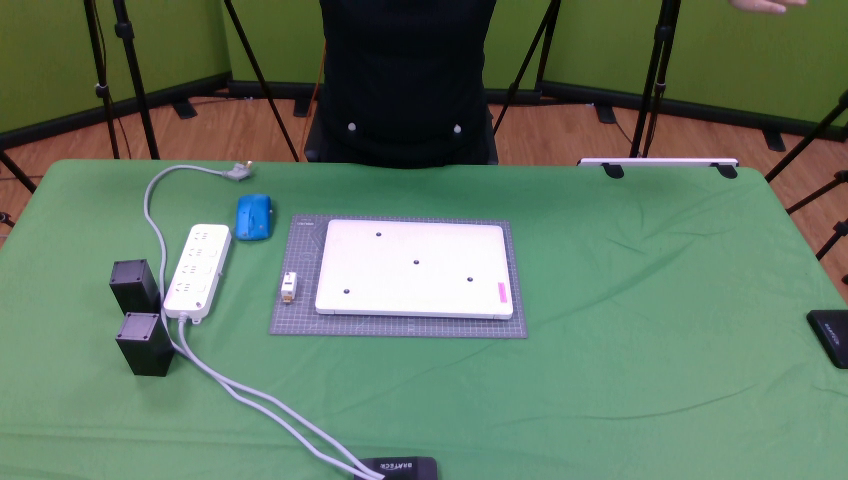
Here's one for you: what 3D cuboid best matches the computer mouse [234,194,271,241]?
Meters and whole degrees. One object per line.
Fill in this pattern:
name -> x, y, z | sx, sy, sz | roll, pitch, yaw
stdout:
computer mouse -> -0.341, -0.048, 1.207 | 0.063, 0.041, 0.116 | 0, 50, -8

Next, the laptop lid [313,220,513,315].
laptop lid -> -0.017, 0.046, 1.137 | 0.357, 0.013, 0.240 | 3, 43, -1

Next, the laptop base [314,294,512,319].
laptop base -> -0.018, 0.055, 1.144 | 0.354, 0.023, 0.234 | 2, 42, -2

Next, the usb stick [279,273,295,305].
usb stick -> -0.246, 0.088, 1.085 | 0.021, 0.027, 0.059 | 4, 48, -4

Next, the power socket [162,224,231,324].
power socket -> -0.411, 0.053, 1.106 | 0.072, 0.033, 0.225 | 3, 46, -2

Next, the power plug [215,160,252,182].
power plug -> -0.409, -0.155, 1.303 | 0.072, 0.035, 0.052 | 23, 65, 3
